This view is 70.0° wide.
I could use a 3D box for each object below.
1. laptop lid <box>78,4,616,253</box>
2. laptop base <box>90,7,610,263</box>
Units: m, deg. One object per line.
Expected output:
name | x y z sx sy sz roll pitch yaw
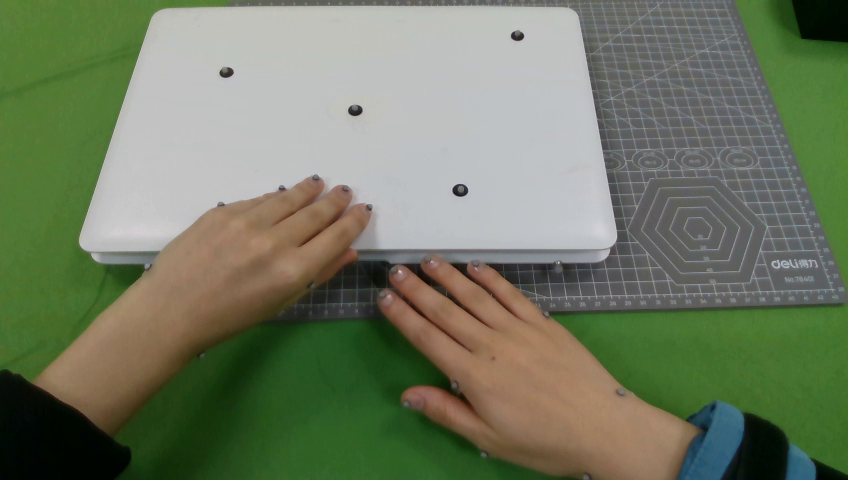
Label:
laptop lid | -0.050 -0.094 0.445 0.357 0.013 0.239 1 60 1
laptop base | -0.050 -0.087 0.463 0.354 0.023 0.233 0 65 0
